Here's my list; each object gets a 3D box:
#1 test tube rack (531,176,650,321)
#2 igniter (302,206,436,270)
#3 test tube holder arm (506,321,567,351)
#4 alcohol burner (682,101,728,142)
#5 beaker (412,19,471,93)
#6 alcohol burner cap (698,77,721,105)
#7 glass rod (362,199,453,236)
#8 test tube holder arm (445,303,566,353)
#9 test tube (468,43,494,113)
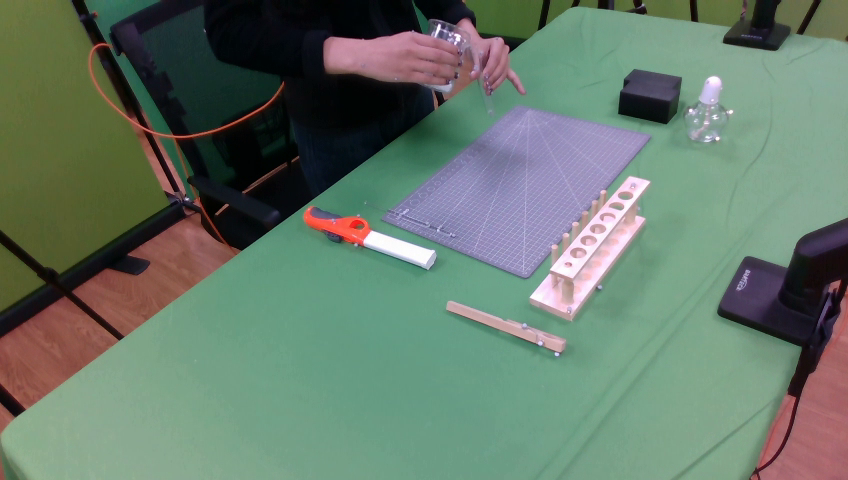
[{"bbox_3d":[0.246,0.002,0.884,0.066,0.085,0.243,22,49,32],"label":"test tube rack"},{"bbox_3d":[-0.101,-0.007,1.004,0.274,0.025,0.057,19,58,29],"label":"igniter"},{"bbox_3d":[0.148,0.128,0.808,0.087,0.015,0.010,16,11,27],"label":"test tube holder arm"},{"bbox_3d":[0.513,-0.239,1.097,0.078,0.119,0.077,-4,40,4],"label":"alcohol burner"},{"bbox_3d":[0.028,-0.300,0.999,0.085,0.100,0.073,12,12,-37],"label":"beaker"},{"bbox_3d":[0.509,-0.266,1.072,0.034,0.048,0.033,-4,48,5],"label":"alcohol burner cap"},{"bbox_3d":[-0.032,-0.041,1.041,0.198,0.008,0.008,22,50,31],"label":"glass rod"},{"bbox_3d":[0.107,0.117,0.823,0.177,0.015,0.013,16,10,27],"label":"test tube holder arm"},{"bbox_3d":[0.104,-0.287,1.086,0.017,0.151,0.017,-11,50,13],"label":"test tube"}]
